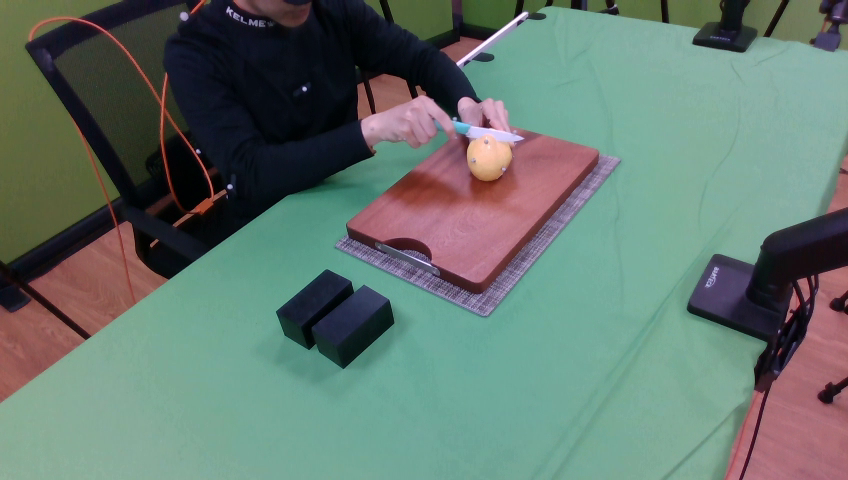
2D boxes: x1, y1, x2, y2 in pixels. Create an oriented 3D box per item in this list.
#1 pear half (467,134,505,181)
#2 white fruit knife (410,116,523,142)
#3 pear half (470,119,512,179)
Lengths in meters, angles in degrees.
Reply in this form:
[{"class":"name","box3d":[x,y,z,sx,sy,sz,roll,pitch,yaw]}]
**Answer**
[{"class":"pear half","box3d":[0.100,-0.133,1.014,0.070,0.088,0.031,17,47,17]},{"class":"white fruit knife","box3d":[0.068,-0.185,1.011,0.206,0.027,0.016,13,44,23]},{"class":"pear half","box3d":[0.116,-0.164,1.031,0.076,0.110,0.056,17,46,18]}]
